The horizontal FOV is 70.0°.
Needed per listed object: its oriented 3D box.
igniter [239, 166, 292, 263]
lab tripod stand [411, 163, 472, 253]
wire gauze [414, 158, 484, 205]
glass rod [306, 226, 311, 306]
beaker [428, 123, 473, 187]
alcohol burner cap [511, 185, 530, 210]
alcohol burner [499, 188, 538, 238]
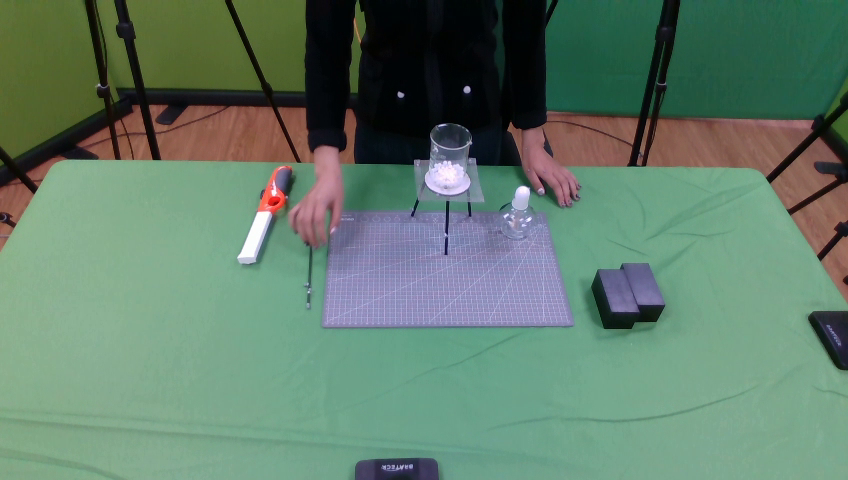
[{"bbox_3d":[-0.318,-0.060,1.229,0.057,0.025,0.275,-1,45,9],"label":"igniter"},{"bbox_3d":[0.043,-0.070,1.187,0.148,0.132,0.147,3,47,-3],"label":"lab tripod stand"},{"bbox_3d":[0.045,-0.113,1.137,0.125,0.011,0.120,2,48,-6],"label":"wire gauze"},{"bbox_3d":[-0.218,0.045,1.148,0.008,0.008,0.198,-3,47,-6],"label":"glass rod"},{"bbox_3d":[0.044,-0.154,1.109,0.074,0.101,0.083,-25,54,-25],"label":"beaker"},{"bbox_3d":[0.190,-0.085,1.176,0.034,0.048,0.033,3,50,-3],"label":"alcohol burner cap"},{"bbox_3d":[0.189,-0.060,1.202,0.078,0.120,0.077,2,48,-2],"label":"alcohol burner"}]
